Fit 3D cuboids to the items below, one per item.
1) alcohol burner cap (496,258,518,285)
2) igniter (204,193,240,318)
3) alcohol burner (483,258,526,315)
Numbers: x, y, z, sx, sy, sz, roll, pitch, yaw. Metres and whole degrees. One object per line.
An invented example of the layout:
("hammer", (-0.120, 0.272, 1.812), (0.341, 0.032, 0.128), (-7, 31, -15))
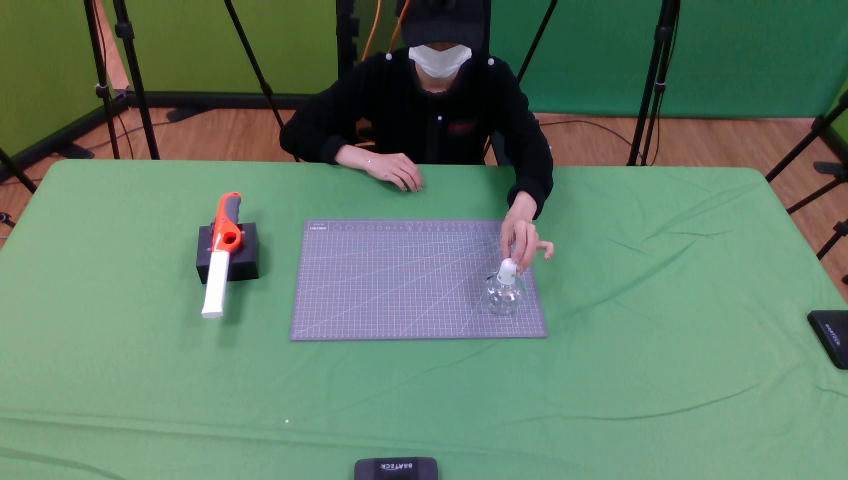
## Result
("alcohol burner cap", (0.144, 0.051, 1.041), (0.034, 0.048, 0.033), (4, 44, -3))
("igniter", (-0.361, 0.017, 1.084), (0.057, 0.025, 0.274), (-3, 51, -6))
("alcohol burner", (0.143, 0.076, 1.067), (0.078, 0.120, 0.077), (1, 45, -1))
